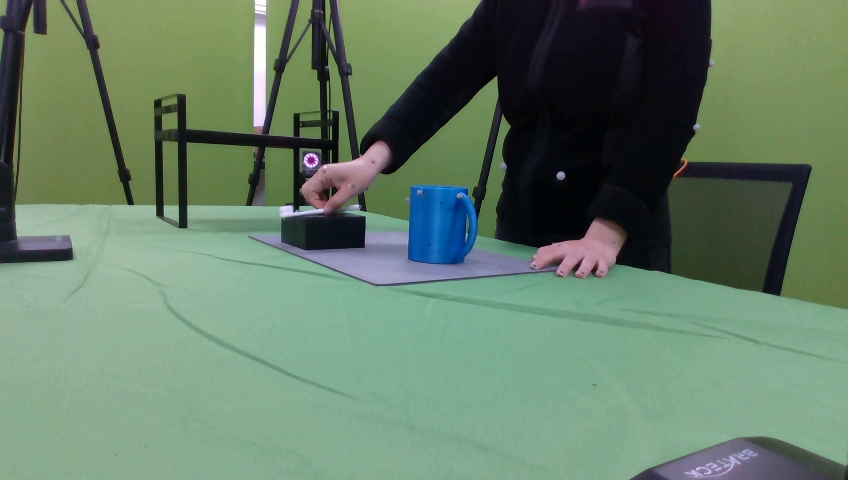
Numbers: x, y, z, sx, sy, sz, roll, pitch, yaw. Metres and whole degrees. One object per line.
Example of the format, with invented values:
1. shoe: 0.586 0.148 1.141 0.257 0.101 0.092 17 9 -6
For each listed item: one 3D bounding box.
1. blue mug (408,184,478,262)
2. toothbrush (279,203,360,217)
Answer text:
1. blue mug: 0.031 -0.024 0.843 0.083 0.106 0.116 -5 10 -42
2. toothbrush: -0.158 -0.049 0.942 0.014 0.016 0.183 -20 -5 31
